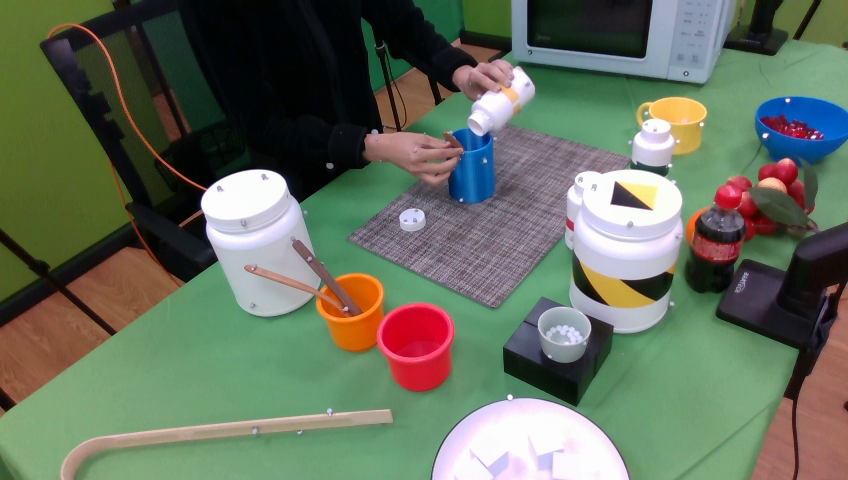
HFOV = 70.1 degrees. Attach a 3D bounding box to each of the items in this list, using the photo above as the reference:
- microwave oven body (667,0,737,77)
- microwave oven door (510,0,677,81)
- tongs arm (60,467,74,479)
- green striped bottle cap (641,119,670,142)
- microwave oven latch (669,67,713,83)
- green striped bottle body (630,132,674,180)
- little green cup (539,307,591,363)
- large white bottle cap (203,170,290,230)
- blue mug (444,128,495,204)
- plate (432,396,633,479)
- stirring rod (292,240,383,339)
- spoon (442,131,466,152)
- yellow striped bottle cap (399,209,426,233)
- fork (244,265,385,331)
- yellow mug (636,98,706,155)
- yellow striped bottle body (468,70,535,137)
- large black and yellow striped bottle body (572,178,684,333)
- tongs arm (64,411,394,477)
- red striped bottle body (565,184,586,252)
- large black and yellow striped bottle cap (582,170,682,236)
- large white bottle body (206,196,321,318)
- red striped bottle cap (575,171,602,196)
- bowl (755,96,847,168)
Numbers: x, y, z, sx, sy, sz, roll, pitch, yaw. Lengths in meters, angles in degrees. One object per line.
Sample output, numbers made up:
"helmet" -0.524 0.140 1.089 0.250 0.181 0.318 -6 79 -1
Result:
"microwave oven body" 0.462 -0.552 1.369 0.439 0.261 0.326 15 45 26
"microwave oven door" 0.353 -0.478 1.290 0.353 0.245 0.039 15 45 25
"tongs arm" -0.239 0.301 0.648 0.386 0.028 0.028 6 49 16
"green striped bottle cap" 0.371 -0.175 0.968 0.044 0.020 0.044 -5 41 5
"microwave oven latch" 0.556 -0.348 1.261 0.078 0.029 0.030 16 46 27
"green striped bottle body" 0.376 -0.135 1.001 0.063 0.120 0.063 -5 41 5
"little green cup" 0.167 0.114 0.721 0.061 0.039 0.061 -4 43 4
"large white bottle cap" -0.241 -0.057 0.822 0.115 0.018 0.114 -4 41 4
"blue mug" 0.080 -0.139 1.057 0.082 0.106 0.116 -5 41 3
"plate" 0.112 0.261 0.634 0.209 0.038 0.208 -5 40 4
"stirring rod" -0.118 0.068 0.826 0.176 0.006 0.014 49 59 -4
"spoon" 0.062 -0.144 1.000 0.041 0.195 0.021 10 79 22
"yellow striped bottle cap" -0.019 -0.032 1.017 0.044 0.019 0.044 -4 39 4
"fork" -0.142 0.078 0.806 0.209 0.018 0.028 30 33 -24
"yellow mug" 0.453 -0.217 1.128 0.100 0.064 0.129 -34 46 -27
"yellow striped bottle body" 0.127 -0.227 1.023 0.120 0.063 0.062 -44 50 -16
"large black and yellow striped bottle body" 0.262 0.017 0.788 0.131 0.185 0.130 -5 40 4
"tongs arm" -0.228 0.241 0.715 0.385 0.026 0.050 -5 43 4
"red striped bottle body" 0.247 -0.041 0.910 0.063 0.120 0.062 -3 39 3
"large black and yellow striped bottle cap" 0.252 -0.048 0.735 0.115 0.019 0.114 -3 40 3
"large white bottle body" -0.233 0.008 0.876 0.130 0.185 0.130 -5 40 4
"red striped bottle cap" 0.242 -0.081 0.876 0.044 0.018 0.044 -5 44 5
"bowl" 0.645 -0.177 1.041 0.151 0.077 0.150 -5 40 4
